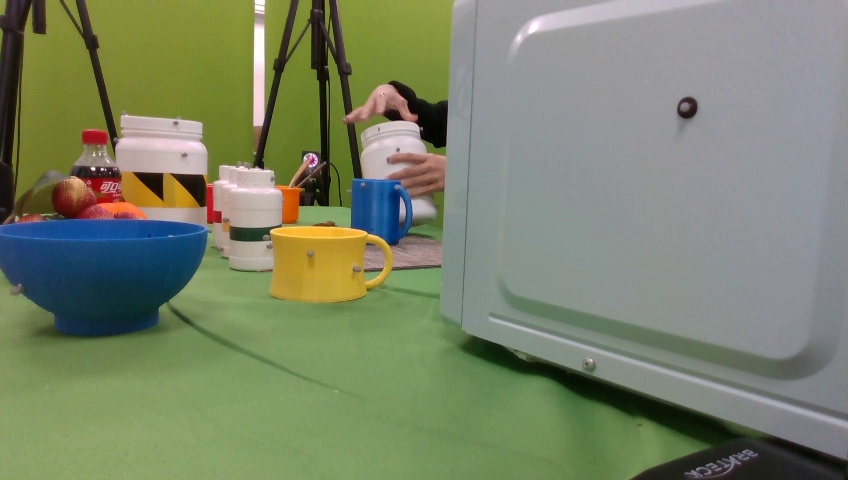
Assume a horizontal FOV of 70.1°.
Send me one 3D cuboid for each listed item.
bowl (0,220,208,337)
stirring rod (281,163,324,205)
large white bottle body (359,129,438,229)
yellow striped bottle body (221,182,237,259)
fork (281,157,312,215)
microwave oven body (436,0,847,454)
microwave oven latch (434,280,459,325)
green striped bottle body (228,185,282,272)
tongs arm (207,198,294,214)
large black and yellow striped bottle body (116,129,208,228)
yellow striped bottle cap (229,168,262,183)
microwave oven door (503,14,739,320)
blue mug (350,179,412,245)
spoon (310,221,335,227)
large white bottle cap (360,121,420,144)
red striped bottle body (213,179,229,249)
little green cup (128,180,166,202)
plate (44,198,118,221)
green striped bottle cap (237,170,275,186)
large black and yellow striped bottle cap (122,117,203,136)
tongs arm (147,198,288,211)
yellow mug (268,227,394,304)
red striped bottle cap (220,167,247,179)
[{"bbox_3d":[-0.251,0.030,0.479,0.151,0.077,0.151,2,7,0],"label":"bowl"},{"bbox_3d":[-0.278,-0.105,1.293,0.176,0.006,0.014,-47,25,-18],"label":"stirring rod"},{"bbox_3d":[-0.052,-0.119,1.158,0.131,0.184,0.130,-10,-6,-1],"label":"large white bottle body"},{"bbox_3d":[-0.244,-0.035,0.824,0.063,0.120,0.063,2,8,0],"label":"yellow striped bottle body"},{"bbox_3d":[-0.289,-0.116,1.321,0.028,0.019,0.207,6,51,19],"label":"fork"},{"bbox_3d":[0.279,-0.040,0.464,0.444,0.260,0.324,-3,9,-41],"label":"microwave oven body"},{"bbox_3d":[0.044,0.045,0.470,0.079,0.029,0.030,-2,8,-39],"label":"microwave oven latch"},{"bbox_3d":[-0.208,-0.023,0.745,0.063,0.119,0.063,2,7,0],"label":"green striped bottle body"},{"bbox_3d":[-0.423,-0.084,1.472,0.050,0.026,0.386,1,6,22],"label":"tongs arm"},{"bbox_3d":[-0.404,-0.089,0.937,0.131,0.184,0.130,3,7,0],"label":"large black and yellow striped bottle body"},{"bbox_3d":[-0.240,-0.087,0.816,0.044,0.018,0.044,-3,5,1],"label":"yellow striped bottle cap"},{"bbox_3d":[0.218,-0.065,0.600,0.358,0.243,0.039,-4,10,-41],"label":"microwave oven door"},{"bbox_3d":[-0.068,-0.046,1.000,0.116,0.106,0.083,7,9,32],"label":"blue mug"},{"bbox_3d":[-0.185,-0.027,1.131,0.041,0.021,0.193,-18,6,2],"label":"spoon"},{"bbox_3d":[-0.066,-0.202,1.168,0.115,0.018,0.115,-10,-6,-1],"label":"large white bottle cap"},{"bbox_3d":[-0.284,-0.048,0.909,0.063,0.119,0.063,3,10,0],"label":"red striped bottle body"},{"bbox_3d":[-0.485,-0.087,1.062,0.061,0.038,0.061,-1,6,0],"label":"little green cup"},{"bbox_3d":[-0.617,-0.056,1.179,0.209,0.038,0.209,3,7,0],"label":"plate"},{"bbox_3d":[-0.205,-0.075,0.737,0.044,0.020,0.044,1,6,0],"label":"green striped bottle cap"},{"bbox_3d":[-0.399,-0.174,0.927,0.115,0.019,0.115,5,9,-1],"label":"large black and yellow striped bottle cap"},{"bbox_3d":[-0.503,-0.090,1.513,0.028,0.028,0.389,-1,3,38],"label":"tongs arm"},{"bbox_3d":[-0.094,0.023,0.630,0.131,0.064,0.099,0,8,-22],"label":"yellow mug"},{"bbox_3d":[-0.281,-0.099,0.901,0.044,0.017,0.044,-1,5,0],"label":"red striped bottle cap"}]
